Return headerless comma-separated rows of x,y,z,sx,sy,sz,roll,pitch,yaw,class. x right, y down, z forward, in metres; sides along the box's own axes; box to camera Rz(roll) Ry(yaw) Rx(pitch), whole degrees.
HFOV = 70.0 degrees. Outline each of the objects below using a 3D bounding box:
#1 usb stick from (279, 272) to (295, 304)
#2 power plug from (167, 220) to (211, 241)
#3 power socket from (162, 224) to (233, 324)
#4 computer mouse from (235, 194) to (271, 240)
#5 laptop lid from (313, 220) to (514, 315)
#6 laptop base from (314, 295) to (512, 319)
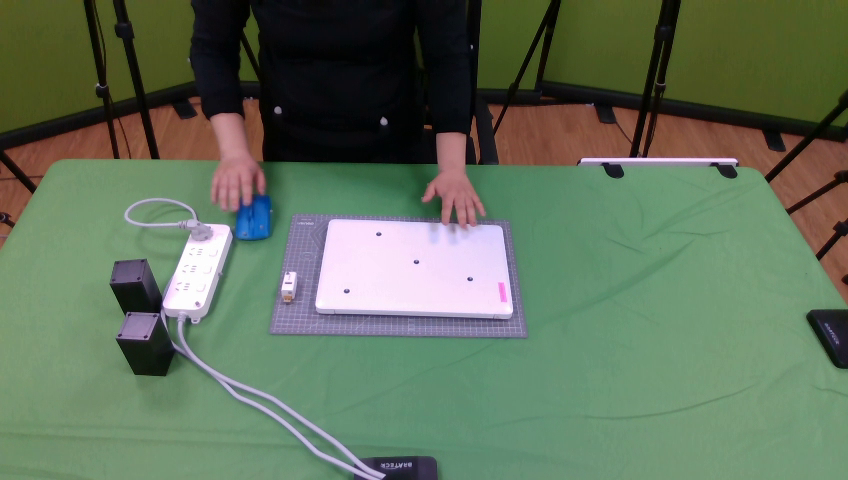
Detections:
-0.246,0.088,1.085,0.021,0.027,0.059,5,48,-5,usb stick
-0.438,-0.017,1.144,0.072,0.053,0.035,9,43,7,power plug
-0.410,0.052,1.106,0.072,0.033,0.225,4,46,-1,power socket
-0.341,-0.049,1.208,0.063,0.041,0.116,0,50,-7,computer mouse
-0.017,0.045,1.138,0.357,0.013,0.240,3,43,-1,laptop lid
-0.018,0.055,1.144,0.354,0.023,0.234,2,42,-2,laptop base
